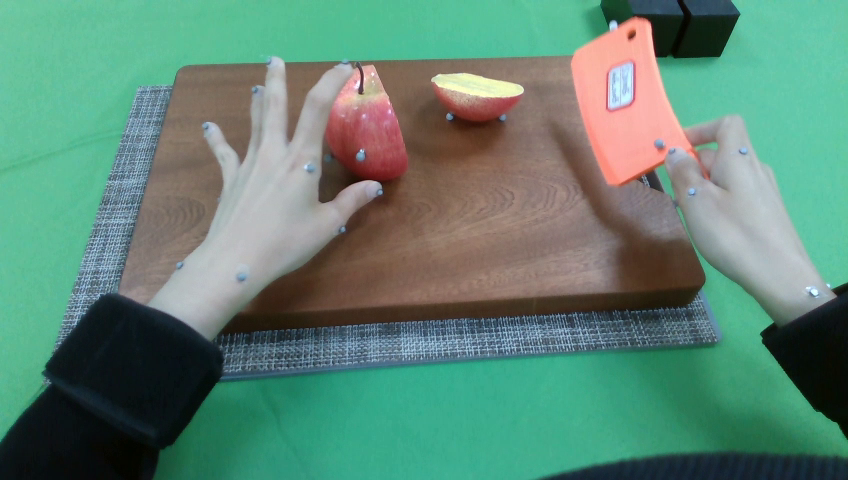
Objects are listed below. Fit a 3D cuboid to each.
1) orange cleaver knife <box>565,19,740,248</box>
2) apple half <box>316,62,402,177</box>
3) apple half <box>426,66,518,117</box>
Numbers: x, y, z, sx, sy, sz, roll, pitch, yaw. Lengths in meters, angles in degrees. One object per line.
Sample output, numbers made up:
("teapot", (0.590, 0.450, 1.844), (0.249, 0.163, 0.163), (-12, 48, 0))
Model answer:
("orange cleaver knife", (0.155, -0.076, 0.438), (0.012, 0.077, 0.209), (18, 48, -42))
("apple half", (-0.052, -0.084, 0.450), (0.053, 0.075, 0.080), (-19, 56, -5))
("apple half", (0.036, -0.117, 0.499), (0.081, 0.033, 0.080), (6, 28, -3))
